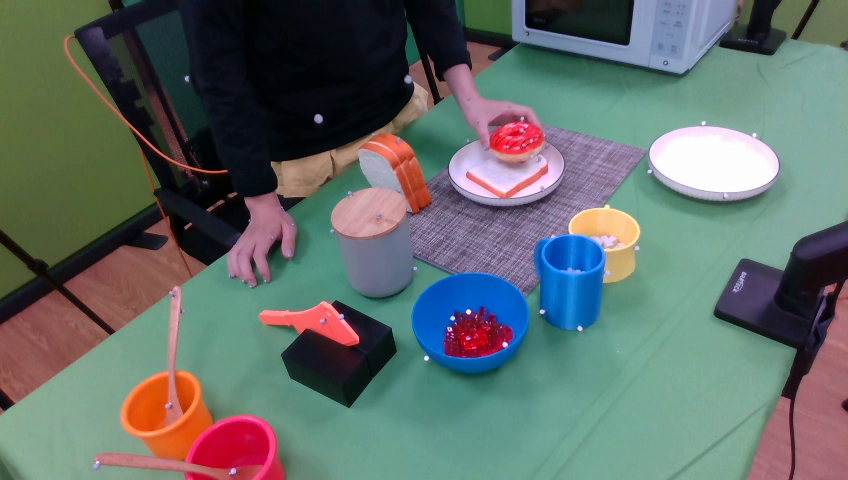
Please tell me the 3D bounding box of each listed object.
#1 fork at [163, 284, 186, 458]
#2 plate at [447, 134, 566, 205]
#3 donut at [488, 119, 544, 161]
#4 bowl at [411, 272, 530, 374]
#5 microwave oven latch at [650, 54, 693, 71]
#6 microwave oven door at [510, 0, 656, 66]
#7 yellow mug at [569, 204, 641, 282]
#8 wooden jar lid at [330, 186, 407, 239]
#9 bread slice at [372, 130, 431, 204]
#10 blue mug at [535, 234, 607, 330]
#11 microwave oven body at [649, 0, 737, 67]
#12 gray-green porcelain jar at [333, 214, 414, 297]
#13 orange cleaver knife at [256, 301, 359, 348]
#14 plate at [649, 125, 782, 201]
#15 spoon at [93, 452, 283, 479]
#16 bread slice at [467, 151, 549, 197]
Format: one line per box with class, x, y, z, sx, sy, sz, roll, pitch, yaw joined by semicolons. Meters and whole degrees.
fork;-0.302;0.157;0.733;0.028;0.019;0.207;-3;84;15
plate;0.146;-0.123;1.076;0.209;0.038;0.208;-4;40;4
donut;0.160;-0.176;1.055;0.099;0.048;0.098;-4;39;4
bowl;0.062;0.120;0.780;0.151;0.077;0.150;-4;40;4
microwave oven latch;0.531;-0.386;1.301;0.078;0.029;0.030;26;51;33
microwave oven door;0.350;-0.539;1.349;0.353;0.245;0.039;24;50;31
yellow mug;0.268;-0.005;0.904;0.099;0.064;0.130;7;41;15
wooden jar lid;-0.077;-0.035;0.846;0.108;0.021;0.108;-5;41;5
bread slice;-0.042;-0.127;1.038;0.106;0.135;0.018;30;61;34
blue mug;0.191;0.048;0.824;0.082;0.106;0.115;-26;44;-20
microwave oven body;0.475;-0.602;1.411;0.438;0.261;0.327;23;50;32
gray-green porcelain jar;-0.071;0.012;0.887;0.106;0.127;0.105;-4;41;4
orange cleaver knife;-0.160;0.115;0.813;0.210;0.077;0.012;-9;29;48
plate;0.493;-0.127;1.036;0.207;0.039;0.206;-4;41;4
spoon;-0.240;0.239;0.632;0.195;0.021;0.041;26;34;-32
bread slice;0.156;-0.128;1.084;0.132;0.019;0.104;-35;48;-23
